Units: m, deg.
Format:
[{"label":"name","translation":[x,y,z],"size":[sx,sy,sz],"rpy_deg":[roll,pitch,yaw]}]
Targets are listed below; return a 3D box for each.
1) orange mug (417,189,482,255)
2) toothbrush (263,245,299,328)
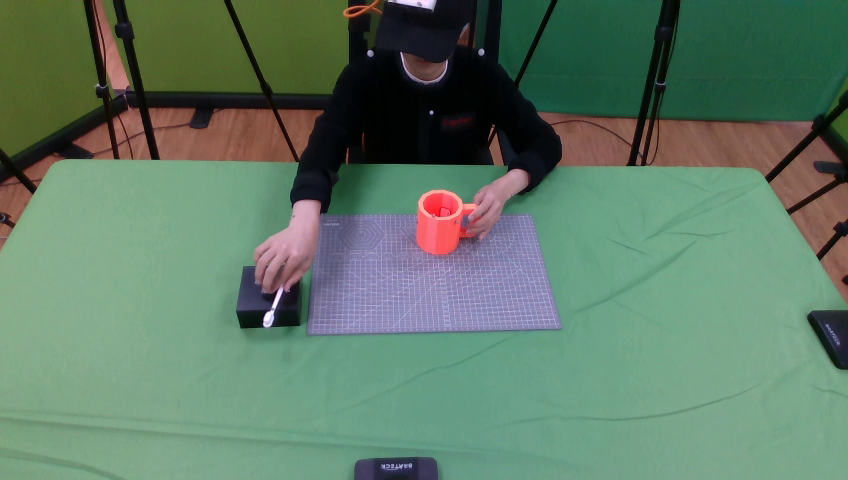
[{"label":"orange mug","translation":[0.049,-0.037,1.176],"size":[0.126,0.101,0.083],"rpy_deg":[-6,46,-4]},{"label":"toothbrush","translation":[-0.244,0.074,1.042],"size":[0.014,0.017,0.181],"rpy_deg":[9,46,1]}]
